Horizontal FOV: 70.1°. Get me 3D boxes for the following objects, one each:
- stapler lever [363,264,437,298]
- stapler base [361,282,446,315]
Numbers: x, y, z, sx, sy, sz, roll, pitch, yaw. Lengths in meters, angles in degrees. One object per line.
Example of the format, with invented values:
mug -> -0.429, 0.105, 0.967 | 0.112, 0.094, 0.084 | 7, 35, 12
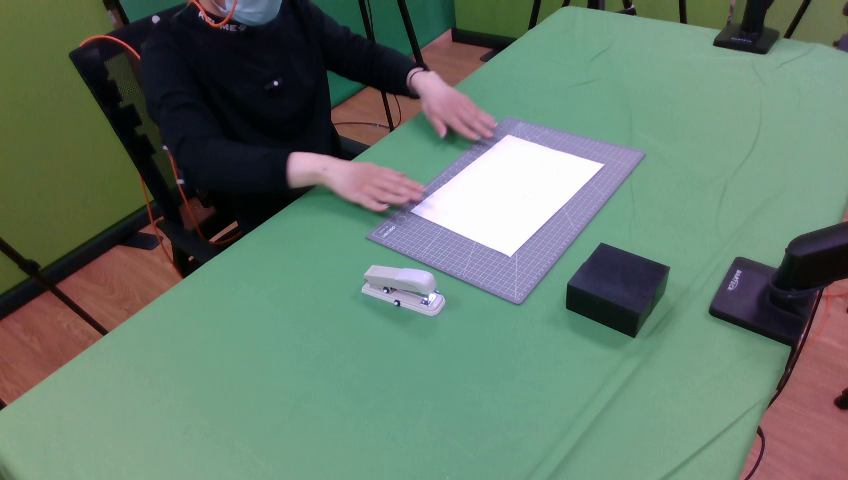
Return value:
stapler lever -> -0.036, 0.054, 0.873 | 0.117, 0.040, 0.027 | 14, 42, 26
stapler base -> -0.032, 0.073, 0.889 | 0.130, 0.024, 0.041 | 14, 42, 26
